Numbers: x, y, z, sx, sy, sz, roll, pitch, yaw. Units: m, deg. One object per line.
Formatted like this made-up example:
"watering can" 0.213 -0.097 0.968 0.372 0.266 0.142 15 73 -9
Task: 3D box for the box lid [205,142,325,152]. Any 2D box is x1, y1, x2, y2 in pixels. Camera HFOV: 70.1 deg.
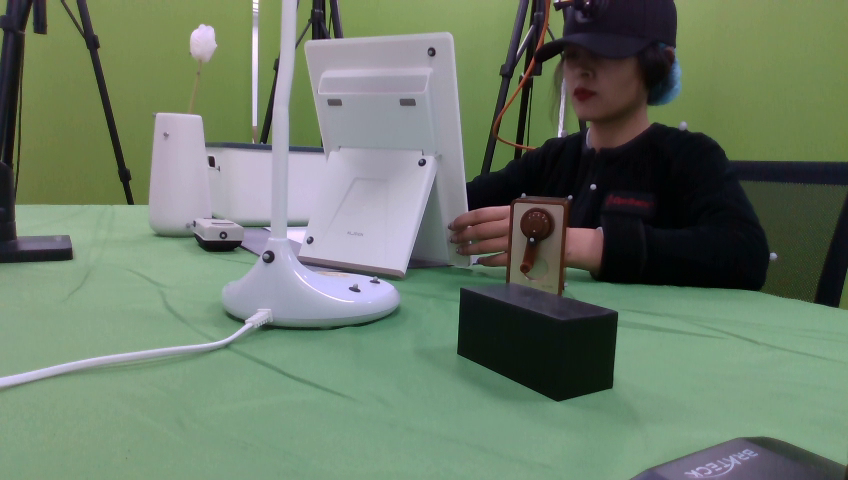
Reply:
"box lid" -0.270 -0.196 1.310 0.373 0.015 0.262 -2 9 -30

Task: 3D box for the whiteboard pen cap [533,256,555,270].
"whiteboard pen cap" 0.166 0.032 0.840 0.018 0.018 0.033 -1 5 -24

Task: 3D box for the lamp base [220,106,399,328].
"lamp base" -0.101 -0.023 0.531 0.160 0.180 0.179 4 10 10

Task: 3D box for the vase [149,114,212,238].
"vase" -0.405 -0.106 1.005 0.098 0.200 0.098 2 6 0

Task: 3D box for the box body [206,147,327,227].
"box body" -0.276 -0.122 1.320 0.366 0.160 0.253 -2 9 -30

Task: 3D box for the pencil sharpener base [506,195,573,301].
"pencil sharpener base" 0.127 0.007 0.662 0.061 0.107 0.077 5 8 15

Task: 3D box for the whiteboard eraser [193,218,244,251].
"whiteboard eraser" -0.307 -0.009 0.900 0.056 0.042 0.112 -3 9 -29

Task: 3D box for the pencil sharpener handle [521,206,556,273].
"pencil sharpener handle" 0.111 0.000 0.612 0.036 0.067 0.031 13 10 14

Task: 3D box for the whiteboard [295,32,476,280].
"whiteboard" -0.076 -0.083 0.747 0.216 0.305 0.144 7 28 29

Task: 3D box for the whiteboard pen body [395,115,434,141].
"whiteboard pen body" -0.013 -0.155 0.836 0.017 0.017 0.141 5 1 19

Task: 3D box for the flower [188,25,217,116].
"flower" -0.394 -0.189 1.011 0.044 0.361 0.038 -1 -13 27
